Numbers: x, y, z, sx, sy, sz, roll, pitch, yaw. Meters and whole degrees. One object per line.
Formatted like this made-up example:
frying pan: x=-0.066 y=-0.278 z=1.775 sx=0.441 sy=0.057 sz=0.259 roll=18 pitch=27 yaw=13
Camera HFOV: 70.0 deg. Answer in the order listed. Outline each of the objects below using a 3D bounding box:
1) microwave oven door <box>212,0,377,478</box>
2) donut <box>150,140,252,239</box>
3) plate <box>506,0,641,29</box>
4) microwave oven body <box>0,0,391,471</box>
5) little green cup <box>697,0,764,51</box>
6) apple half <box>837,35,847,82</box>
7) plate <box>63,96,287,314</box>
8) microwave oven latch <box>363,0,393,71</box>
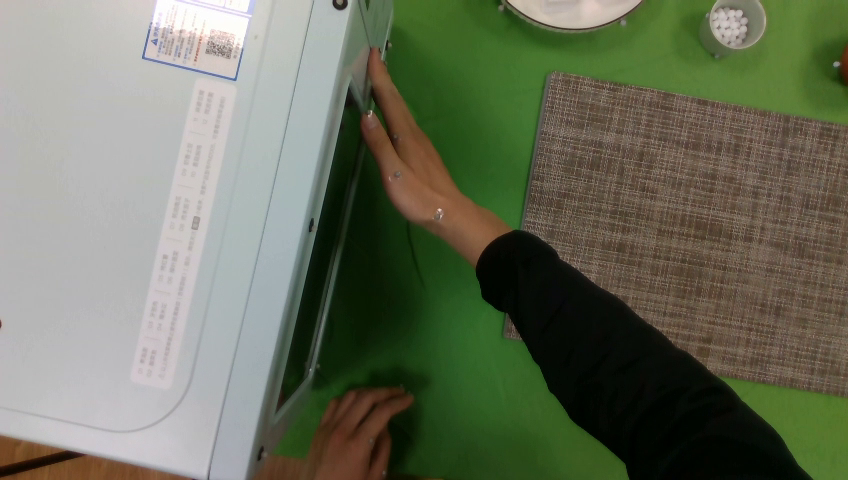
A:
microwave oven door: x=-0.104 y=-0.006 z=0.538 sx=0.039 sy=0.243 sz=0.355 roll=13 pitch=91 yaw=-1
donut: x=-0.215 y=-0.047 z=0.586 sx=0.099 sy=0.048 sz=0.099 roll=3 pitch=112 yaw=7
plate: x=0.160 y=-0.329 z=0.655 sx=0.208 sy=0.039 sz=0.207 roll=0 pitch=91 yaw=-1
microwave oven body: x=-0.236 y=-0.080 z=0.538 sx=0.326 sy=0.260 sz=0.441 roll=13 pitch=92 yaw=-2
little green cup: x=0.331 y=-0.238 z=0.661 sx=0.061 sy=0.038 sz=0.061 roll=0 pitch=91 yaw=-1
apple half: x=0.477 y=-0.201 z=0.648 sx=0.053 sy=0.074 sz=0.081 roll=2 pitch=95 yaw=4
plate: x=-0.237 y=-0.033 z=0.591 sx=0.209 sy=0.038 sz=0.209 roll=0 pitch=91 yaw=-3
microwave oven latch: x=-0.053 y=-0.221 z=0.634 sx=0.030 sy=0.029 sz=0.079 roll=15 pitch=92 yaw=-2
